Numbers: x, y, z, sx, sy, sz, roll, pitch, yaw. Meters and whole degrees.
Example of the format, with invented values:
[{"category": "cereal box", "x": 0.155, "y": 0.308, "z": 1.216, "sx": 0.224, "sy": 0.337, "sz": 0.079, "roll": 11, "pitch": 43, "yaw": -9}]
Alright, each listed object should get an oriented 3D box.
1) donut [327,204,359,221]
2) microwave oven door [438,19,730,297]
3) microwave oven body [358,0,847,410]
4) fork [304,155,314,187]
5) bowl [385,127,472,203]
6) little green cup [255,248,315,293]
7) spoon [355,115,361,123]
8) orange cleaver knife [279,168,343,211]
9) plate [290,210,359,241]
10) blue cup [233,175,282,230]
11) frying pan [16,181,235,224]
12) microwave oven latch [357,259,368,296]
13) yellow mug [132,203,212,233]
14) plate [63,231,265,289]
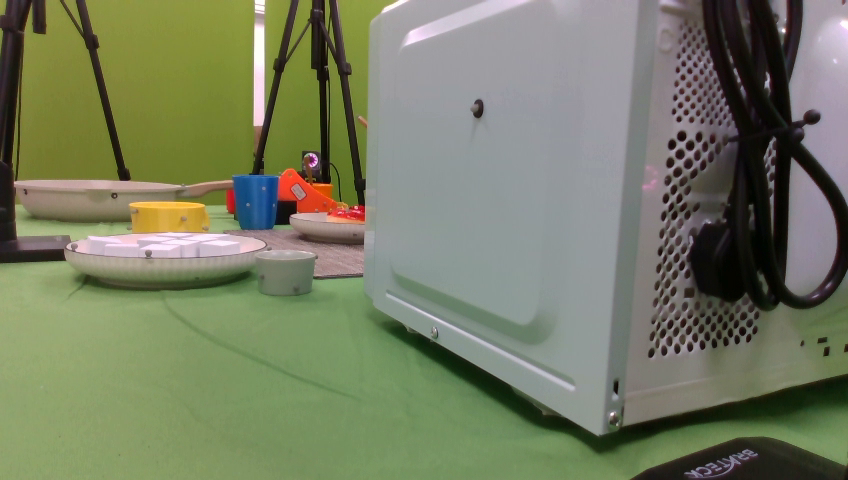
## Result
[{"category": "donut", "x": -0.120, "y": -0.037, "z": 1.056, "sx": 0.099, "sy": 0.048, "sz": 0.099, "roll": 5, "pitch": 7, "yaw": 0}, {"category": "microwave oven door", "x": 0.181, "y": -0.076, "z": 0.618, "sx": 0.358, "sy": 0.243, "sz": 0.039, "roll": -2, "pitch": 8, "yaw": -28}, {"category": "microwave oven body", "x": 0.210, "y": -0.051, "z": 0.471, "sx": 0.444, "sy": 0.260, "sz": 0.324, "roll": -1, "pitch": 7, "yaw": -28}, {"category": "fork", "x": -0.268, "y": -0.134, "z": 1.446, "sx": 0.028, "sy": 0.018, "sz": 0.207, "roll": 2, "pitch": -36, "yaw": -1}, {"category": "bowl", "x": 0.018, "y": -0.113, "z": 1.001, "sx": 0.151, "sy": 0.076, "sz": 0.151, "roll": -19, "pitch": -16, "yaw": -5}, {"category": "little green cup", "x": -0.144, "y": 0.031, "z": 0.627, "sx": 0.061, "sy": 0.038, "sz": 0.061, "roll": 2, "pitch": 6, "yaw": 0}, {"category": "spoon", "x": -0.048, "y": -0.152, "z": 1.029, "sx": 0.193, "sy": 0.021, "sz": 0.042, "roll": 46, "pitch": 12, "yaw": 11}, {"category": "orange cleaver knife", "x": -0.236, "y": -0.084, "z": 1.333, "sx": 0.212, "sy": 0.077, "sz": 0.012, "roll": 31, "pitch": -9, "yaw": -31}, {"category": "plate", "x": -0.127, "y": -0.026, "z": 1.051, "sx": 0.209, "sy": 0.038, "sz": 0.209, "roll": 3, "pitch": 7, "yaw": 0}, {"category": "blue cup", "x": -0.314, "y": -0.071, "z": 1.141, "sx": 0.093, "sy": 0.100, "sz": 0.092, "roll": 0, "pitch": 7, "yaw": 0}, {"category": "frying pan", "x": -0.554, "y": -0.097, "z": 1.266, "sx": 0.490, "sy": 0.102, "sz": 0.305, "roll": -10, "pitch": 13, "yaw": -24}, {"category": "microwave oven latch", "x": -0.019, "y": 0.031, "z": 0.528, "sx": 0.079, "sy": 0.029, "sz": 0.030, "roll": -1, "pitch": 7, "yaw": -25}, {"category": "yellow mug", "x": -0.356, "y": -0.020, "z": 0.878, "sx": 0.099, "sy": 0.064, "sz": 0.131, "roll": 4, "pitch": 7, "yaw": 22}, {"category": "plate", "x": -0.288, "y": 0.021, "z": 0.687, "sx": 0.208, "sy": 0.039, "sz": 0.207, "roll": 2, "pitch": 8, "yaw": 0}]
